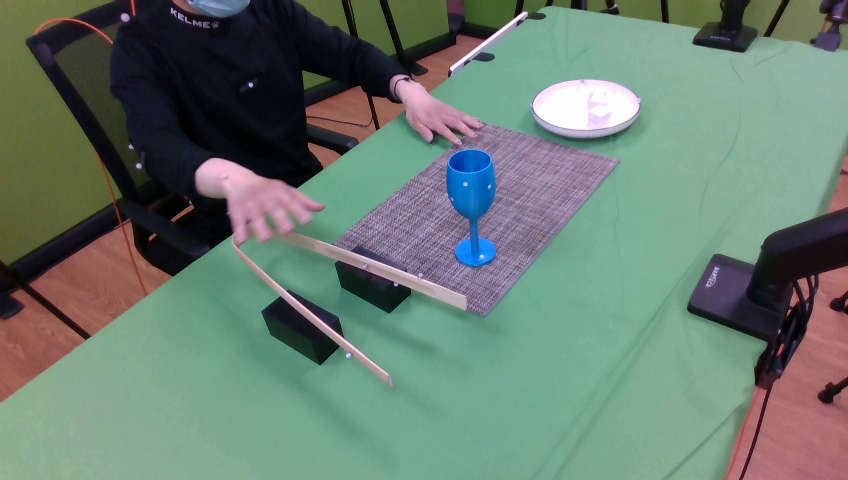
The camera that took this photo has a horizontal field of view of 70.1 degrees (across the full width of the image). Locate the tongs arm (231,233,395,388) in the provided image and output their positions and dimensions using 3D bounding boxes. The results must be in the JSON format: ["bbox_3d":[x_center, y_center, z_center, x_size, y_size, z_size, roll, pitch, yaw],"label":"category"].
[{"bbox_3d":[-0.166,0.084,0.817,0.028,0.028,0.384,-39,49,-24],"label":"tongs arm"}]

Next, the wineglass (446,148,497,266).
[{"bbox_3d":[0.072,-0.046,0.889,0.074,0.173,0.073,-4,41,4],"label":"wineglass"}]

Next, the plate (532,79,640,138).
[{"bbox_3d":[0.322,-0.259,1.212,0.209,0.038,0.208,-4,40,4],"label":"plate"}]

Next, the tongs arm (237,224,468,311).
[{"bbox_3d":[-0.115,0.039,0.862,0.382,0.026,0.051,20,49,28],"label":"tongs arm"}]
